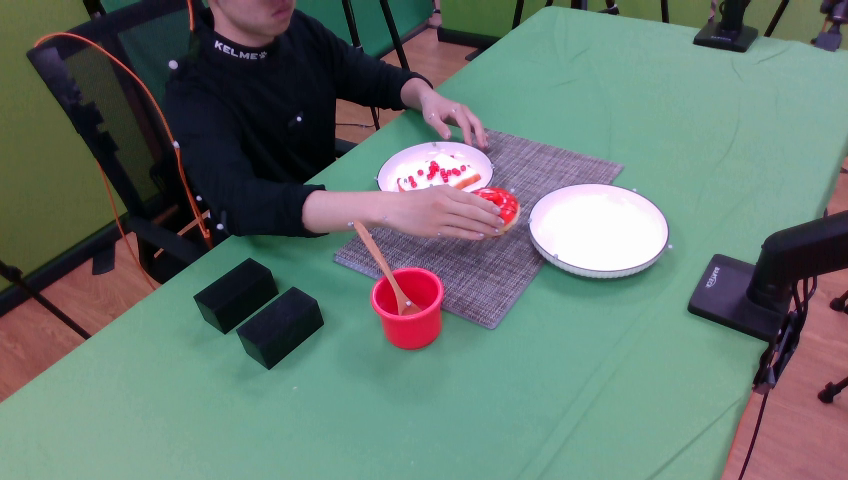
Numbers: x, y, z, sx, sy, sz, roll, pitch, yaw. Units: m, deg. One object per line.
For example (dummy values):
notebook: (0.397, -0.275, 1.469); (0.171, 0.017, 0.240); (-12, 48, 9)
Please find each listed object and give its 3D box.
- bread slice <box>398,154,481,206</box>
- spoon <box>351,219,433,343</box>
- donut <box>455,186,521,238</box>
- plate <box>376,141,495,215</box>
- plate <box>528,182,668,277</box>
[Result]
bread slice: (0.021, -0.107, 1.077); (0.132, 0.019, 0.104); (-32, 46, -28)
spoon: (-0.045, 0.054, 0.820); (0.042, 0.021, 0.193); (-28, 89, -21)
donut: (0.095, -0.044, 0.898); (0.099, 0.048, 0.098); (-6, 41, 6)
plate: (0.022, -0.106, 1.073); (0.209, 0.038, 0.208); (-4, 40, 4)
plate: (0.264, -0.014, 0.933); (0.207, 0.039, 0.206); (-3, 42, 3)
